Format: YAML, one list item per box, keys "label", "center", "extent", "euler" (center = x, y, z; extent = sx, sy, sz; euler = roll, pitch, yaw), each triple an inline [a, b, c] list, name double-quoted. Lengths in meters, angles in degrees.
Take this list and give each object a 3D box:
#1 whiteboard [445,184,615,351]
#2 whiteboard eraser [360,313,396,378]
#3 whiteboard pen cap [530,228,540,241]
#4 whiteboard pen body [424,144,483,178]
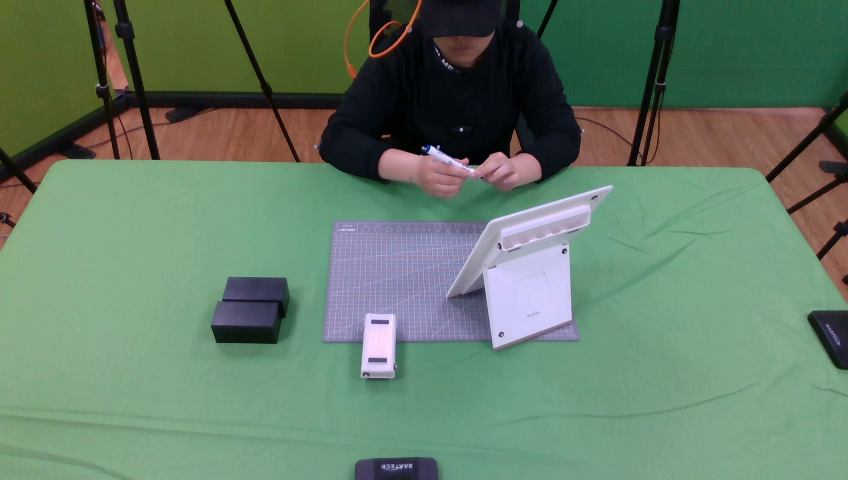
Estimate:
- label: "whiteboard"
  center: [0.186, 0.065, 0.989]
  extent: [0.217, 0.306, 0.143]
  euler: [-15, 68, -18]
- label: "whiteboard eraser"
  center: [-0.075, 0.176, 1.006]
  extent: [0.055, 0.042, 0.112]
  euler: [3, 50, -4]
- label: "whiteboard pen cap"
  center: [0.225, -0.011, 1.221]
  extent: [0.018, 0.018, 0.033]
  euler: [12, 29, 8]
- label: "whiteboard pen body"
  center: [0.060, -0.151, 1.177]
  extent: [0.141, 0.017, 0.017]
  euler: [25, 40, -26]
